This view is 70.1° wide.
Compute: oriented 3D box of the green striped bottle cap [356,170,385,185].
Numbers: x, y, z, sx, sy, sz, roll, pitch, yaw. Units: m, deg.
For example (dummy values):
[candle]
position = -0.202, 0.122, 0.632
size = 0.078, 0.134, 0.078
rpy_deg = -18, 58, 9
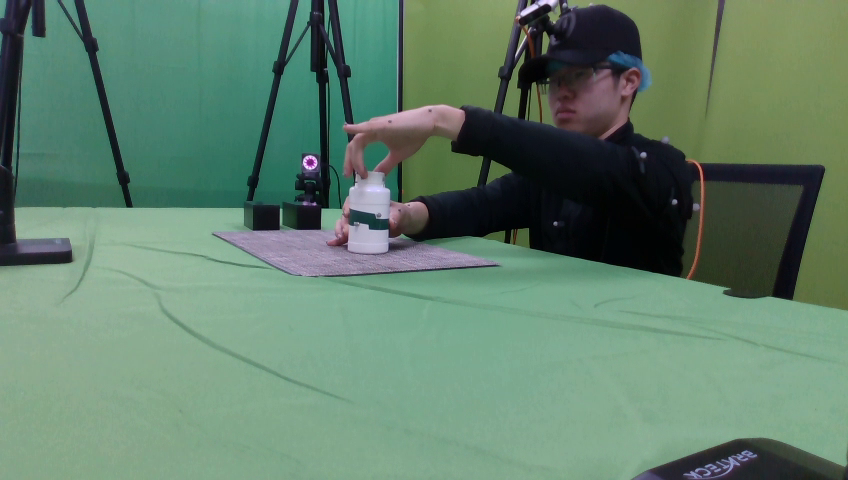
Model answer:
[green striped bottle cap]
position = -0.081, -0.093, 0.907
size = 0.044, 0.020, 0.044
rpy_deg = 0, 13, 0

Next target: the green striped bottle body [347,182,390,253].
[green striped bottle body]
position = -0.083, -0.042, 0.913
size = 0.063, 0.119, 0.063
rpy_deg = 3, 7, 0
